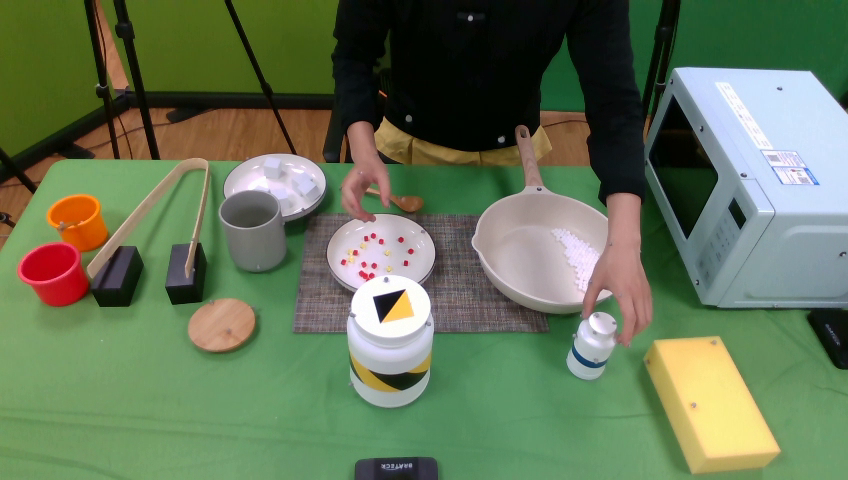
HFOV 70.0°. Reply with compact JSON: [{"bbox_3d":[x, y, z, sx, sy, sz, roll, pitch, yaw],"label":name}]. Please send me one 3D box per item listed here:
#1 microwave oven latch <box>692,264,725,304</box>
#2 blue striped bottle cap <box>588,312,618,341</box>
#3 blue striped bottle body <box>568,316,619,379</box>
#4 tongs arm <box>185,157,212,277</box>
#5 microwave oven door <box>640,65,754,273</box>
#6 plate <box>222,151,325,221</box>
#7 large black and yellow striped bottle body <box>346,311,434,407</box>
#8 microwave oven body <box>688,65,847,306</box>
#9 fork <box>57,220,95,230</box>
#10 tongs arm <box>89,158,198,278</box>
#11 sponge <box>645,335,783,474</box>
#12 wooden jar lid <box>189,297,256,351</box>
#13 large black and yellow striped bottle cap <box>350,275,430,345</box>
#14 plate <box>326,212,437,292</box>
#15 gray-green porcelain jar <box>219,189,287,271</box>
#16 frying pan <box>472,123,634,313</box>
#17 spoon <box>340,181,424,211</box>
[{"bbox_3d":[0.522,0.081,1.116,0.030,0.029,0.078,1,46,-2],"label":"microwave oven latch"},{"bbox_3d":[0.279,0.134,0.946,0.044,0.021,0.044,1,44,-1],"label":"blue striped bottle cap"},{"bbox_3d":[0.277,0.168,0.984,0.063,0.121,0.062,2,46,-2],"label":"blue striped bottle body"},{"bbox_3d":[-0.445,-0.058,1.168,0.051,0.026,0.382,-5,37,-6],"label":"tongs arm"},{"bbox_3d":[0.523,-0.147,1.193,0.039,0.245,0.353,0,47,-3],"label":"microwave oven door"},{"bbox_3d":[-0.310,-0.106,1.262,0.208,0.039,0.206,3,46,-2],"label":"plate"},{"bbox_3d":[-0.052,0.157,0.929,0.131,0.185,0.130,2,47,-2],"label":"large black and yellow striped bottle body"},{"bbox_3d":[0.669,-0.111,1.176,0.326,0.261,0.439,0,46,-3],"label":"microwave oven body"},{"bbox_3d":[-0.624,-0.027,1.087,0.028,0.207,0.018,-3,92,-17],"label":"fork"},{"bbox_3d":[-0.529,-0.057,1.164,0.028,0.028,0.385,1,36,8],"label":"tongs arm"},{"bbox_3d":[0.448,0.253,0.956,0.118,0.061,0.205,-3,47,-7],"label":"sponge"},{"bbox_3d":[-0.342,0.145,1.033,0.108,0.021,0.107,2,45,-2],"label":"wooden jar lid"},{"bbox_3d":[-0.048,0.097,0.868,0.115,0.019,0.114,3,48,-3],"label":"large black and yellow striped bottle cap"},{"bbox_3d":[-0.080,0.030,1.143,0.209,0.038,0.208,2,46,-2],"label":"plate"},{"bbox_3d":[-0.310,-0.014,1.113,0.106,0.127,0.105,2,46,-2],"label":"gray-green porcelain jar"},{"bbox_3d":[0.235,-0.060,1.207,0.307,0.103,0.484,2,55,-6],"label":"frying pan"},{"bbox_3d":[-0.090,-0.100,1.283,0.193,0.022,0.041,18,66,12],"label":"spoon"}]
